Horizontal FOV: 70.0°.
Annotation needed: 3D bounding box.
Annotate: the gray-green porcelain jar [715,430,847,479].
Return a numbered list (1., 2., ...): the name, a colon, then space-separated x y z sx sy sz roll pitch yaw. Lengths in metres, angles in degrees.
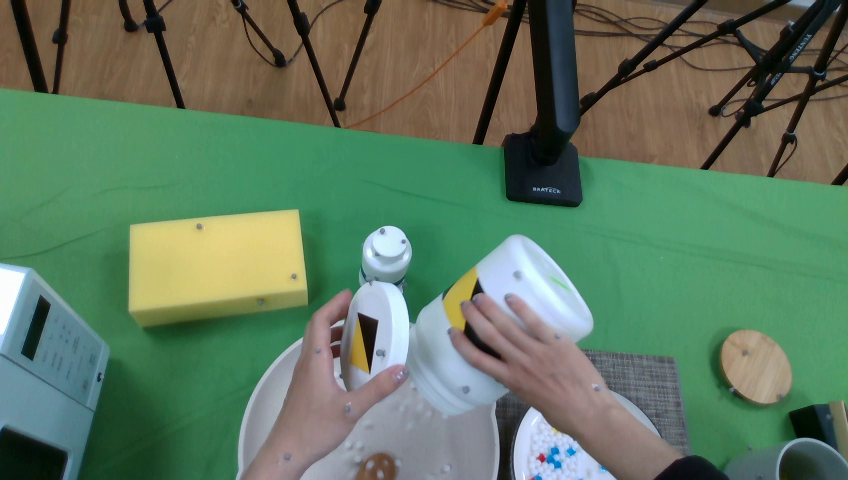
1. gray-green porcelain jar: 0.435 0.297 0.746 0.106 0.127 0.105 4 64 -8

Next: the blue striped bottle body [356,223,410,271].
1. blue striped bottle body: -0.054 0.018 0.790 0.063 0.121 0.062 4 64 -9

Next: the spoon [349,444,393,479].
1. spoon: -0.099 0.292 0.663 0.041 0.022 0.194 47 39 8

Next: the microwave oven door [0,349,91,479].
1. microwave oven door: -0.381 0.291 0.509 0.039 0.245 0.353 6 64 -8

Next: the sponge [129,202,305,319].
1. sponge: -0.262 0.024 0.781 0.207 0.061 0.117 -7 66 -14

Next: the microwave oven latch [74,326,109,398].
1. microwave oven latch: -0.385 0.139 0.695 0.030 0.029 0.078 6 65 -8

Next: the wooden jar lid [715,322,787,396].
1. wooden jar lid: 0.467 0.171 0.872 0.108 0.021 0.107 4 66 -8

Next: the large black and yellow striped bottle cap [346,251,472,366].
1. large black and yellow striped bottle cap: -0.014 0.060 0.550 0.115 0.019 0.114 7 51 -9

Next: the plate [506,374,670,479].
1. plate: 0.202 0.274 0.759 0.209 0.038 0.207 4 64 -8

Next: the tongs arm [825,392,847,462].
1. tongs arm: 0.561 0.384 0.747 0.051 0.026 0.382 1 75 -12

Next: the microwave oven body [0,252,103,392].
1. microwave oven body: -0.524 0.240 0.513 0.327 0.261 0.438 6 64 -8

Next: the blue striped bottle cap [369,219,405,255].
1. blue striped bottle cap: -0.046 -0.004 0.743 0.045 0.021 0.044 4 61 -6

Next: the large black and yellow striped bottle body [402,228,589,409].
1. large black and yellow striped bottle body: 0.070 0.090 0.663 0.184 0.131 0.130 -42 73 19

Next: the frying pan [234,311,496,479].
1. frying pan: -0.024 0.310 0.662 0.307 0.103 0.483 -16 61 -17
